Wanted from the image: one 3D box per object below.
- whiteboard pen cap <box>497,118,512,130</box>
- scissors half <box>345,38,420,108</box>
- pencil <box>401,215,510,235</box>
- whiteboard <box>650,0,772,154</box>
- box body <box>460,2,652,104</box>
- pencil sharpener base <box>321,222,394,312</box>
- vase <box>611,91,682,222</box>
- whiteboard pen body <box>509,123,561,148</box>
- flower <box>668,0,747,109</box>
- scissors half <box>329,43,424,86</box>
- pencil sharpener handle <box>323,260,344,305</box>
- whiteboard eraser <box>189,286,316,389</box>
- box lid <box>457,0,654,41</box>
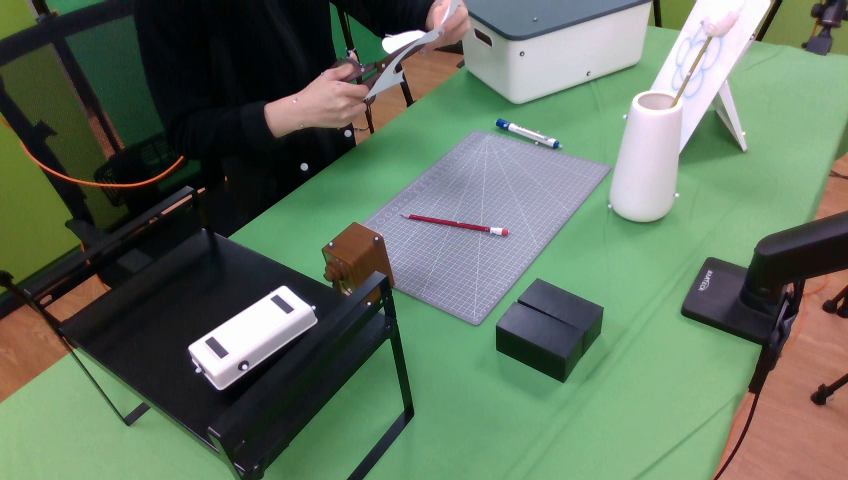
[{"bbox_3d":[0.165,-0.235,1.227,0.033,0.018,0.018,31,53,31],"label":"whiteboard pen cap"},{"bbox_3d":[-0.062,-0.248,0.903,0.174,0.040,0.013,-33,17,43],"label":"scissors half"},{"bbox_3d":[0.049,-0.027,1.007,0.193,0.012,0.012,10,43,21],"label":"pencil"},{"bbox_3d":[0.543,-0.298,1.076,0.144,0.305,0.216,12,40,-7],"label":"whiteboard"},{"bbox_3d":[0.291,-0.465,1.371,0.365,0.161,0.252,-22,42,-16],"label":"box body"},{"bbox_3d":[-0.096,0.041,0.873,0.061,0.107,0.077,26,54,32],"label":"pencil sharpener base"},{"bbox_3d":[0.348,-0.125,0.935,0.098,0.201,0.097,-3,40,3],"label":"vase"},{"bbox_3d":[0.209,-0.211,1.196,0.139,0.017,0.017,30,52,33],"label":"whiteboard pen body"},{"bbox_3d":[0.354,-0.187,0.879,0.038,0.362,0.044,30,48,14],"label":"flower"},{"bbox_3d":[-0.074,-0.264,0.895,0.174,0.040,0.013,-7,38,31],"label":"scissors half"},{"bbox_3d":[-0.131,0.062,0.839,0.035,0.068,0.031,29,55,28],"label":"pencil sharpener handle"},{"bbox_3d":[-0.166,0.096,0.593,0.113,0.042,0.055,-36,47,-29],"label":"whiteboard eraser"},{"bbox_3d":[0.285,-0.522,1.323,0.373,0.015,0.261,-22,43,-16],"label":"box lid"}]
